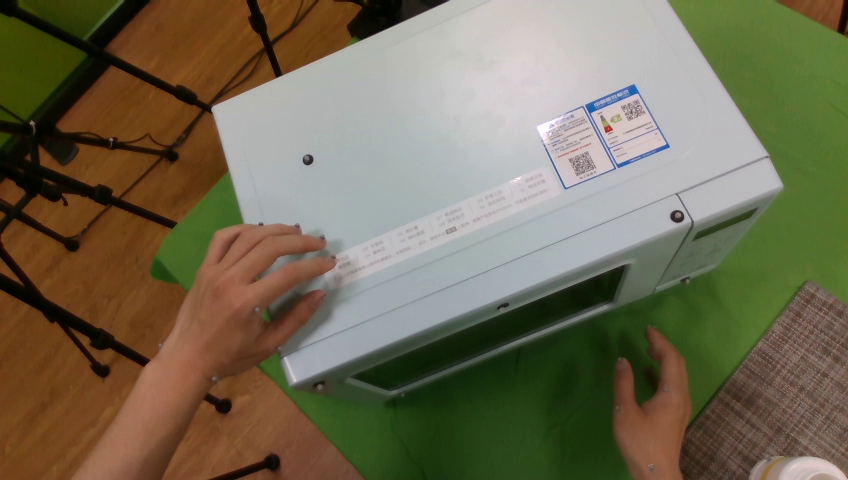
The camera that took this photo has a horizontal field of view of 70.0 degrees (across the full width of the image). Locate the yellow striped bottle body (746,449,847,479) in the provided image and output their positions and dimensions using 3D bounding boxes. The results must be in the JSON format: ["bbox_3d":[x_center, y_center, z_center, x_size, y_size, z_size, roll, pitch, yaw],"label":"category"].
[{"bbox_3d":[0.354,0.231,0.573,0.062,0.121,0.062,-4,71,11],"label":"yellow striped bottle body"}]

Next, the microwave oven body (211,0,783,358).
[{"bbox_3d":[0.057,-0.065,0.658,0.442,0.262,0.323,-23,69,4],"label":"microwave oven body"}]

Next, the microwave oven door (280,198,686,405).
[{"bbox_3d":[0.067,0.076,0.604,0.356,0.246,0.039,-23,68,4],"label":"microwave oven door"}]

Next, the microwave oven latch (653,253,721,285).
[{"bbox_3d":[0.290,0.024,0.684,0.079,0.030,0.030,-21,69,5],"label":"microwave oven latch"}]
